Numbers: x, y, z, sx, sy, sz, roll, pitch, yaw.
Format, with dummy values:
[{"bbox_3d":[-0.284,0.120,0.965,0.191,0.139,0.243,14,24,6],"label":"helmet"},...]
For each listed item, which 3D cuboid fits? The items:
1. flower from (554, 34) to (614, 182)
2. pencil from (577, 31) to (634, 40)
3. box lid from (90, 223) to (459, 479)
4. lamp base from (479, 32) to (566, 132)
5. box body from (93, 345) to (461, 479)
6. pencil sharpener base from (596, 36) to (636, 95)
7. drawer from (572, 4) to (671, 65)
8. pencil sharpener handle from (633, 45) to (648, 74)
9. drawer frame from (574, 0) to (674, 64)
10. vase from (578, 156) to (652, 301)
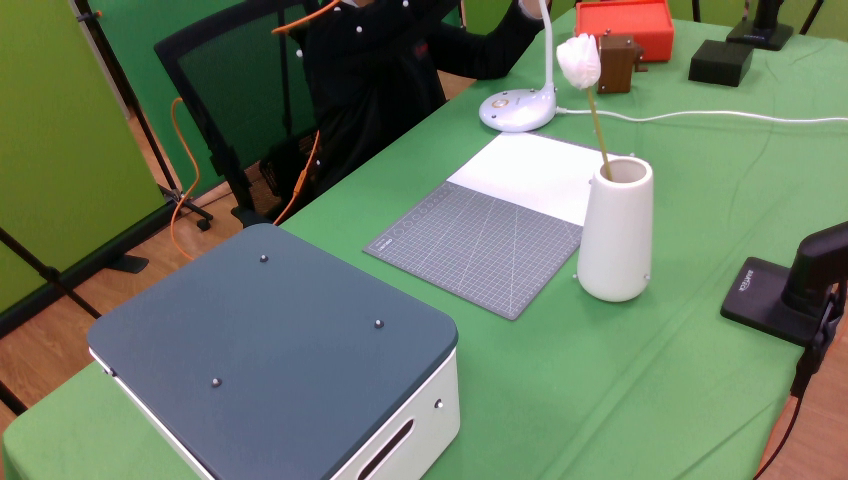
[{"bbox_3d":[0.237,-0.083,0.774,0.044,0.363,0.038,-22,26,6],"label":"flower"},{"bbox_3d":[0.430,-0.488,1.443,0.012,0.012,0.192,-25,30,-18],"label":"pencil"},{"bbox_3d":[-0.174,0.102,0.666,0.368,0.015,0.264,24,48,35],"label":"box lid"},{"bbox_3d":[0.200,-0.332,1.218,0.179,0.181,0.160,1,41,7],"label":"lamp base"},{"bbox_3d":[-0.162,0.170,0.708,0.361,0.161,0.255,25,50,34],"label":"box body"},{"bbox_3d":[0.406,-0.369,1.280,0.076,0.107,0.061,1,41,13],"label":"pencil sharpener base"},{"bbox_3d":[0.461,-0.490,1.434,0.211,0.073,0.194,2,40,12],"label":"drawer"},{"bbox_3d":[0.454,-0.378,1.262,0.030,0.068,0.036,1,47,13],"label":"pencil sharpener handle"},{"bbox_3d":[0.464,-0.492,1.434,0.213,0.083,0.201,1,40,12],"label":"drawer frame"},{"bbox_3d":[0.261,-0.011,0.812,0.098,0.201,0.097,-4,40,4],"label":"vase"}]
